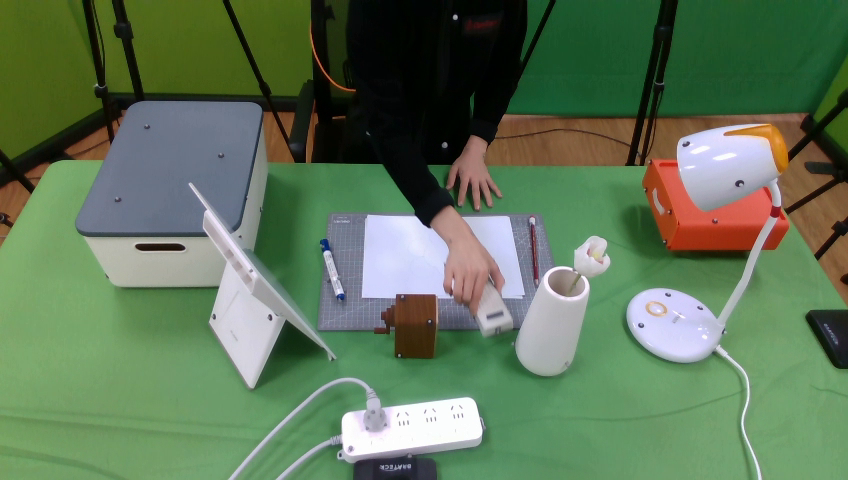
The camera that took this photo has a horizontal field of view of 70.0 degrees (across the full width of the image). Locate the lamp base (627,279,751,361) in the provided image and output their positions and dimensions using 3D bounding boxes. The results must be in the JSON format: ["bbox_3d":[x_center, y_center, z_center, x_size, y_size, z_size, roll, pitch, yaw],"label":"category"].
[{"bbox_3d":[0.459,0.100,1.027,0.178,0.181,0.160,27,51,17],"label":"lamp base"}]

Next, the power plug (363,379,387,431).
[{"bbox_3d":[-0.072,0.252,0.910,0.035,0.053,0.072,3,45,-1],"label":"power plug"}]

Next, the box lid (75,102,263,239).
[{"bbox_3d":[-0.443,-0.138,1.094,0.263,0.015,0.369,-1,47,-5],"label":"box lid"}]

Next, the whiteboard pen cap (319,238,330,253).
[{"bbox_3d":[-0.190,0.013,1.163,0.018,0.018,0.033,-13,49,-16],"label":"whiteboard pen cap"}]

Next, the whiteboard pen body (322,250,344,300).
[{"bbox_3d":[-0.172,0.056,1.127,0.017,0.017,0.140,-12,49,-15],"label":"whiteboard pen body"}]

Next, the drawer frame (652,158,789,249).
[{"bbox_3d":[0.572,-0.075,1.214,0.214,0.083,0.200,0,45,-1],"label":"drawer frame"}]

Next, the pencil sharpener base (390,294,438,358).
[{"bbox_3d":[-0.018,0.143,1.000,0.077,0.107,0.061,1,46,-2],"label":"pencil sharpener base"}]

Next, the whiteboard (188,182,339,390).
[{"bbox_3d":[-0.292,0.096,0.929,0.144,0.307,0.216,-38,57,-10],"label":"whiteboard"}]

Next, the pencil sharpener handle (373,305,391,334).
[{"bbox_3d":[-0.068,0.133,0.989,0.030,0.068,0.036,1,47,-2],"label":"pencil sharpener handle"}]

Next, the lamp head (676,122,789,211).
[{"bbox_3d":[0.423,-0.104,0.819,0.122,0.113,0.112,-13,33,40],"label":"lamp head"}]

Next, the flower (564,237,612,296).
[{"bbox_3d":[0.206,0.088,0.893,0.038,0.363,0.044,-17,67,-9],"label":"flower"}]

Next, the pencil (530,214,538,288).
[{"bbox_3d":[0.218,0.019,1.202,0.012,0.012,0.193,6,48,1],"label":"pencil"}]

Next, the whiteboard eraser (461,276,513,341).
[{"bbox_3d":[0.106,0.117,1.029,0.055,0.042,0.112,-17,52,-7],"label":"whiteboard eraser"}]

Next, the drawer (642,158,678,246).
[{"bbox_3d":[0.566,-0.076,1.211,0.212,0.073,0.193,2,45,-2],"label":"drawer"}]

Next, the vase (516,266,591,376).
[{"bbox_3d":[0.208,0.132,0.964,0.098,0.201,0.097,3,46,-3],"label":"vase"}]

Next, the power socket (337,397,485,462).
[{"bbox_3d":[-0.018,0.285,0.915,0.227,0.033,0.071,-5,46,-8],"label":"power socket"}]

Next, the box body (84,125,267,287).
[{"bbox_3d":[-0.446,-0.088,1.150,0.254,0.161,0.361,-1,46,-5],"label":"box body"}]
